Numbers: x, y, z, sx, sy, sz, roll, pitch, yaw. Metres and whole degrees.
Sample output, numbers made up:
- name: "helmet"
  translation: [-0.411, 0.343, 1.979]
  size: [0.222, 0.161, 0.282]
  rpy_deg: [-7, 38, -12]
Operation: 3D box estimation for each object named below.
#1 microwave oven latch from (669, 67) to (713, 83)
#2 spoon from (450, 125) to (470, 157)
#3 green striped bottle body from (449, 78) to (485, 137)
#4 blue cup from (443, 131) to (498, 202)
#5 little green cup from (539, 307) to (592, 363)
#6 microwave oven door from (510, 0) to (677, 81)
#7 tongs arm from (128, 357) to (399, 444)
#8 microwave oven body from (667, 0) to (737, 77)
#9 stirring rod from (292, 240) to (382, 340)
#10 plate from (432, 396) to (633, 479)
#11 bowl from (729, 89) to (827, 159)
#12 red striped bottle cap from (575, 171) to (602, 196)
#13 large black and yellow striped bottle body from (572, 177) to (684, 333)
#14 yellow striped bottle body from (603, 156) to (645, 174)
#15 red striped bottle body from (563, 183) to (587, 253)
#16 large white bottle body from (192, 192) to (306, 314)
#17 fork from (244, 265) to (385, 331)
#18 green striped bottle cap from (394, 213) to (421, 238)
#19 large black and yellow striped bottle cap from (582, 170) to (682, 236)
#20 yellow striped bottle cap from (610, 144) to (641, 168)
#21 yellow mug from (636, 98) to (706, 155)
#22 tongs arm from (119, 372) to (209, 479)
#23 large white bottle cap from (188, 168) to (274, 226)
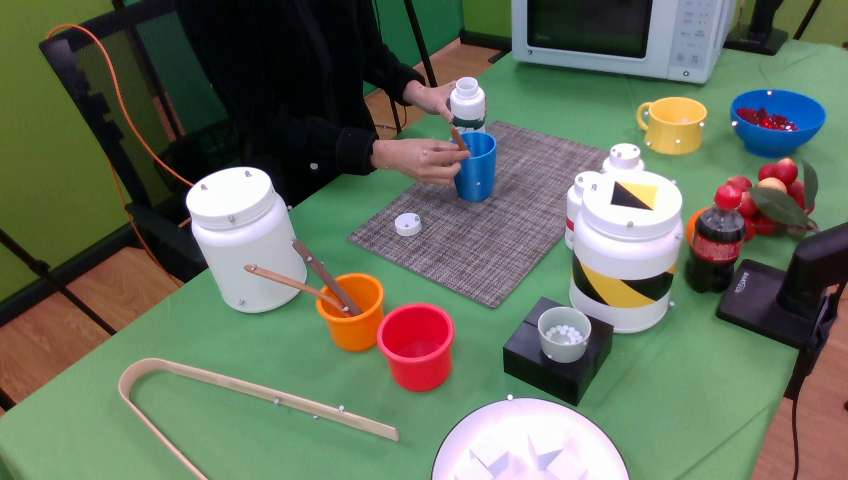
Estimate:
- name: "microwave oven latch"
  translation: [0.556, -0.349, 1.261]
  size: [0.078, 0.029, 0.030]
  rpy_deg: [16, 46, 27]
- name: "spoon"
  translation: [0.070, -0.134, 0.991]
  size: [0.041, 0.195, 0.021]
  rpy_deg: [18, 70, 25]
- name: "green striped bottle body"
  translation: [0.080, -0.235, 1.106]
  size: [0.063, 0.120, 0.063]
  rpy_deg: [-3, 50, 4]
- name: "blue cup"
  translation: [0.087, -0.122, 1.040]
  size: [0.092, 0.101, 0.092]
  rpy_deg: [-5, 41, 5]
- name: "little green cup"
  translation: [0.168, 0.115, 0.721]
  size: [0.061, 0.039, 0.061]
  rpy_deg: [-4, 42, 4]
- name: "microwave oven door"
  translation: [0.354, -0.478, 1.291]
  size: [0.353, 0.245, 0.039]
  rpy_deg: [15, 45, 25]
- name: "tongs arm"
  translation: [-0.213, 0.205, 0.755]
  size: [0.382, 0.026, 0.051]
  rpy_deg: [12, 46, 23]
- name: "microwave oven body"
  translation: [0.462, -0.552, 1.368]
  size: [0.439, 0.261, 0.326]
  rpy_deg: [14, 45, 26]
- name: "stirring rod"
  translation: [-0.119, 0.068, 0.826]
  size: [0.176, 0.006, 0.014]
  rpy_deg: [49, 58, -4]
- name: "plate"
  translation: [0.112, 0.261, 0.634]
  size: [0.209, 0.038, 0.208]
  rpy_deg: [-5, 40, 4]
- name: "bowl"
  translation: [0.615, -0.197, 1.069]
  size: [0.151, 0.077, 0.150]
  rpy_deg: [-5, 40, 5]
- name: "red striped bottle cap"
  translation: [0.242, -0.081, 0.876]
  size: [0.044, 0.018, 0.044]
  rpy_deg: [-5, 43, 5]
- name: "large black and yellow striped bottle body"
  translation: [0.262, 0.017, 0.788]
  size: [0.131, 0.185, 0.130]
  rpy_deg: [-5, 40, 4]
- name: "yellow striped bottle body"
  translation: [0.313, -0.089, 0.956]
  size: [0.063, 0.121, 0.062]
  rpy_deg: [-5, 39, 4]
- name: "red striped bottle body"
  translation: [0.246, -0.041, 0.910]
  size: [0.063, 0.120, 0.062]
  rpy_deg: [-2, 38, 2]
- name: "large white bottle body"
  translation: [-0.256, 0.003, 0.885]
  size: [0.130, 0.185, 0.130]
  rpy_deg: [-4, 40, 4]
- name: "fork"
  translation: [-0.142, 0.078, 0.806]
  size: [0.209, 0.018, 0.028]
  rpy_deg: [30, 32, -23]
- name: "green striped bottle cap"
  translation: [-0.028, -0.025, 1.010]
  size: [0.044, 0.020, 0.044]
  rpy_deg: [-2, 42, 3]
- name: "large black and yellow striped bottle cap"
  translation: [0.252, -0.048, 0.735]
  size: [0.115, 0.019, 0.114]
  rpy_deg: [-3, 40, 3]
- name: "yellow striped bottle cap"
  translation: [0.307, -0.128, 0.923]
  size: [0.044, 0.019, 0.044]
  rpy_deg: [-6, 39, 5]
- name: "yellow mug"
  translation: [0.453, -0.218, 1.129]
  size: [0.100, 0.064, 0.129]
  rpy_deg: [-34, 46, -27]
- name: "tongs arm"
  translation: [-0.258, 0.257, 0.700]
  size: [0.384, 0.028, 0.028]
  rpy_deg: [24, 55, 34]
- name: "large white bottle cap"
  translation: [-0.264, -0.061, 0.831]
  size: [0.115, 0.018, 0.114]
  rpy_deg: [-4, 40, 4]
